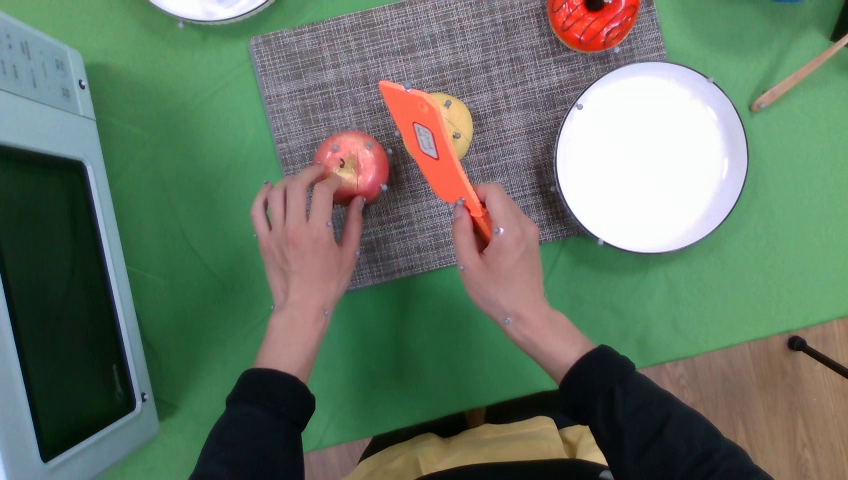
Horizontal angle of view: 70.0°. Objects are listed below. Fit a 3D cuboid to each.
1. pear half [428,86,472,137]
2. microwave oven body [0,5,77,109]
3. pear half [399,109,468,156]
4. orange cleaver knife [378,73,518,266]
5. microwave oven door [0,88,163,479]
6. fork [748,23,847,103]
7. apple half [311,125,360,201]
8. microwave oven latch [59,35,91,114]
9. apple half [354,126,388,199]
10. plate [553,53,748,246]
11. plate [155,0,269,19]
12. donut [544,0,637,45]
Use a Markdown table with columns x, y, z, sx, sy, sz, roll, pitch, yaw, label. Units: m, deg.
| x | y | z | sx | sy | sz | roll | pitch | yaw | label |
| --- | --- | --- | --- | --- | --- | --- | --- | --- | --- |
| 0.028 | -0.142 | 0.639 | 0.070 | 0.088 | 0.031 | 35 | 92 | 4 | pear half |
| -0.496 | 0.029 | 0.564 | 0.326 | 0.260 | 0.442 | -11 | 93 | 0 | microwave oven body |
| 0.006 | -0.114 | 0.630 | 0.076 | 0.110 | 0.056 | 36 | 91 | 4 | pear half |
| 0.024 | -0.058 | 0.542 | 0.012 | 0.076 | 0.213 | -45 | 124 | -19 | orange cleaver knife |
| -0.345 | 0.043 | 0.558 | 0.039 | 0.243 | 0.356 | -12 | 92 | 1 | microwave oven door |
| 0.437 | -0.218 | 0.639 | 0.028 | 0.018 | 0.207 | 45 | 112 | -9 | fork |
| -0.093 | -0.082 | 0.649 | 0.053 | 0.074 | 0.081 | 0 | 98 | 2 | apple half |
| -0.384 | -0.176 | 0.650 | 0.030 | 0.029 | 0.079 | -10 | 93 | 0 | microwave oven latch |
| -0.055 | -0.083 | 0.649 | 0.033 | 0.081 | 0.081 | 0 | 92 | 2 | apple half |
| 0.244 | -0.097 | 0.666 | 0.209 | 0.038 | 0.209 | 0 | 92 | 0 | plate |
| -0.230 | -0.343 | 0.661 | 0.208 | 0.039 | 0.207 | 0 | 92 | 0 | plate |
| 0.179 | -0.262 | 0.656 | 0.099 | 0.048 | 0.099 | 0 | 94 | 3 | donut |
